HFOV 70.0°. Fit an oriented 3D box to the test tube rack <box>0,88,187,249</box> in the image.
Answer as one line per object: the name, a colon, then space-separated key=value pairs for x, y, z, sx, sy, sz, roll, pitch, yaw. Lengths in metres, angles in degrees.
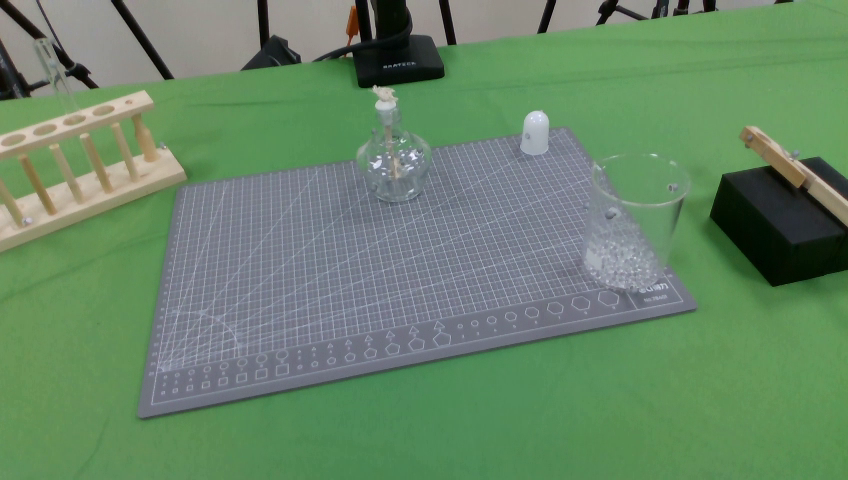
test tube rack: x=-0.384 y=-0.068 z=0.623 sx=0.242 sy=0.086 sz=0.066 roll=-27 pitch=47 yaw=-23

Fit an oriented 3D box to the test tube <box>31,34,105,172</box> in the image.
test tube: x=-0.361 y=-0.135 z=0.619 sx=0.017 sy=0.151 sz=0.017 roll=-2 pitch=39 yaw=2

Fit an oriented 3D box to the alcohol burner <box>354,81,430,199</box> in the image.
alcohol burner: x=-0.034 y=-0.101 z=0.607 sx=0.078 sy=0.120 sz=0.077 roll=-3 pitch=41 yaw=3

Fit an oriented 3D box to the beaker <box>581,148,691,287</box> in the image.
beaker: x=0.170 y=-0.017 z=0.509 sx=0.074 sy=0.101 sz=0.083 roll=-31 pitch=48 yaw=-26

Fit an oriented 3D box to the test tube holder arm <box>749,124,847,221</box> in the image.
test tube holder arm: x=0.337 y=-0.052 z=0.528 sx=0.013 sy=0.015 sz=0.176 roll=-6 pitch=42 yaw=-15

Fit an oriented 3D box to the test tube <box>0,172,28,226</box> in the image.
test tube: x=-0.411 y=-0.075 z=0.564 sx=0.017 sy=0.152 sz=0.017 roll=-2 pitch=40 yaw=2

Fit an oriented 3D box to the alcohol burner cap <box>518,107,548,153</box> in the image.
alcohol burner cap: x=0.122 y=-0.125 z=0.675 sx=0.034 sy=0.048 sz=0.033 roll=-2 pitch=42 yaw=2

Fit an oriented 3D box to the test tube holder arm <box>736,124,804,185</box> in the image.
test tube holder arm: x=0.320 y=-0.080 z=0.558 sx=0.010 sy=0.015 sz=0.087 roll=-6 pitch=42 yaw=-15
